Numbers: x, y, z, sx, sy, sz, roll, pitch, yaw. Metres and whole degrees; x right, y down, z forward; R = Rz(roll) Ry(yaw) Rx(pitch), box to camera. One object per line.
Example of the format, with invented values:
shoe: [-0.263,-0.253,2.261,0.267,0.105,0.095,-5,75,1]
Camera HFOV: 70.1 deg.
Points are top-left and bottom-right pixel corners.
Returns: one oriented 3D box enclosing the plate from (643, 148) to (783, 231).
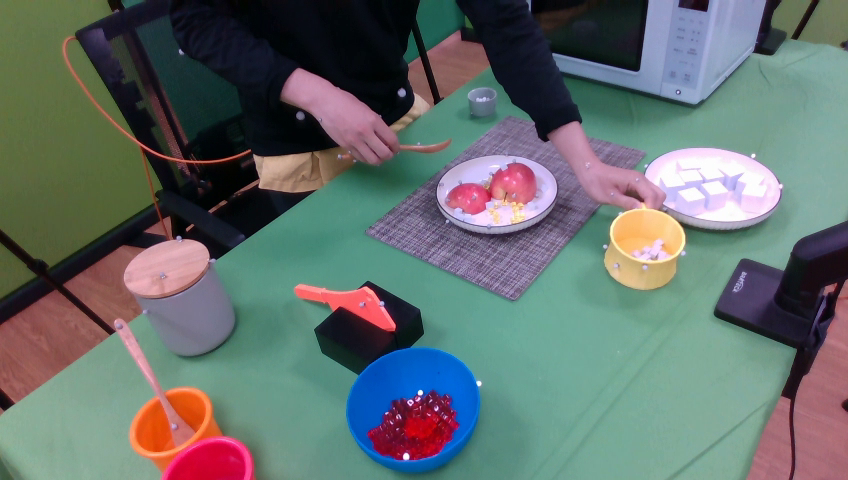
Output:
plate: [0.465,-0.080,0.986,0.207,0.039,0.206,-4,41,4]

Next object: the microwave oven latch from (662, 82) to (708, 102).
microwave oven latch: [0.518,-0.298,1.203,0.078,0.029,0.030,28,52,35]

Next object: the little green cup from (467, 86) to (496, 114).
little green cup: [0.123,-0.297,1.285,0.061,0.039,0.061,-5,41,5]

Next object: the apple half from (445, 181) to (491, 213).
apple half: [0.076,-0.083,1.030,0.081,0.033,0.081,-2,42,2]

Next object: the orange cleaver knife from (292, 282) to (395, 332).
orange cleaver knife: [-0.116,0.091,0.835,0.209,0.077,0.012,2,32,48]

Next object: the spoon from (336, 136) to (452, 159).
spoon: [-0.046,-0.147,0.963,0.195,0.021,0.041,-8,5,-17]

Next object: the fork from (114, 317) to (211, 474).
fork: [-0.309,0.179,0.708,0.028,0.018,0.207,-30,89,-25]

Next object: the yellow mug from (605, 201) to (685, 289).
yellow mug: [0.316,-0.001,0.874,0.100,0.064,0.130,2,51,8]

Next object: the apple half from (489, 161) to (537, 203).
apple half: [0.154,-0.106,1.030,0.080,0.053,0.075,22,45,31]

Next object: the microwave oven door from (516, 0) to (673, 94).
microwave oven door: [0.344,-0.459,1.257,0.353,0.245,0.039,26,52,33]

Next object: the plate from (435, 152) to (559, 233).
plate: [0.124,-0.078,1.026,0.209,0.038,0.208,-4,40,4]

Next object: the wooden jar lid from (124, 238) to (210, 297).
wooden jar lid: [-0.335,0.039,0.794,0.108,0.021,0.108,-2,40,2]

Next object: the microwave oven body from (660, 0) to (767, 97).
microwave oven body: [0.474,-0.517,1.314,0.438,0.261,0.327,26,51,34]

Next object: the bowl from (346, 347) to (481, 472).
bowl: [-0.008,0.205,0.691,0.151,0.077,0.150,-4,40,4]

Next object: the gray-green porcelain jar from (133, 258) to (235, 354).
gray-green porcelain jar: [-0.327,0.086,0.836,0.106,0.127,0.105,-4,41,4]
